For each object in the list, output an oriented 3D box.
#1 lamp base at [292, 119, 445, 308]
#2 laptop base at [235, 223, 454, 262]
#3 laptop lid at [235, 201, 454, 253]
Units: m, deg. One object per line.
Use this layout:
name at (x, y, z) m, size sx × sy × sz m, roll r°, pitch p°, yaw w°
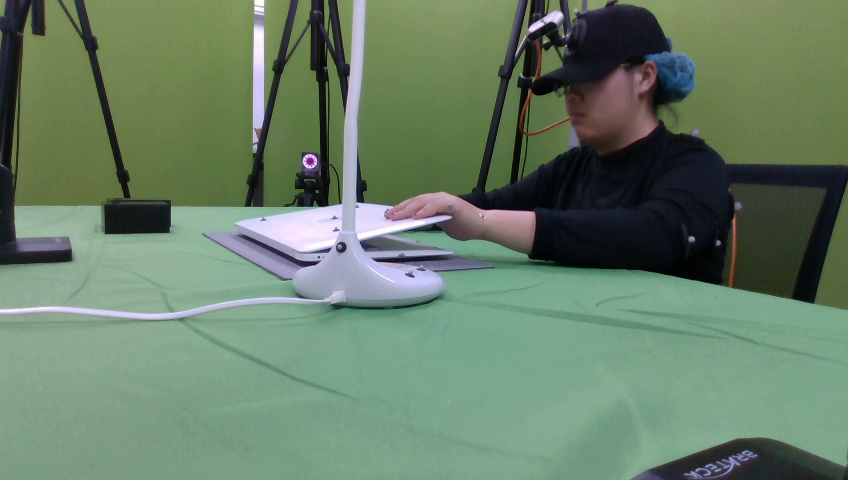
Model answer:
lamp base at (-0.056, -0.030, 0.616) m, size 0.160 × 0.180 × 0.179 m, roll 3°, pitch 10°, yaw 8°
laptop base at (-0.143, 0.003, 0.957) m, size 0.237 × 0.023 × 0.352 m, roll 3°, pitch 6°, yaw -31°
laptop lid at (-0.141, -0.030, 0.952) m, size 0.243 × 0.013 × 0.355 m, roll -12°, pitch 13°, yaw -28°
